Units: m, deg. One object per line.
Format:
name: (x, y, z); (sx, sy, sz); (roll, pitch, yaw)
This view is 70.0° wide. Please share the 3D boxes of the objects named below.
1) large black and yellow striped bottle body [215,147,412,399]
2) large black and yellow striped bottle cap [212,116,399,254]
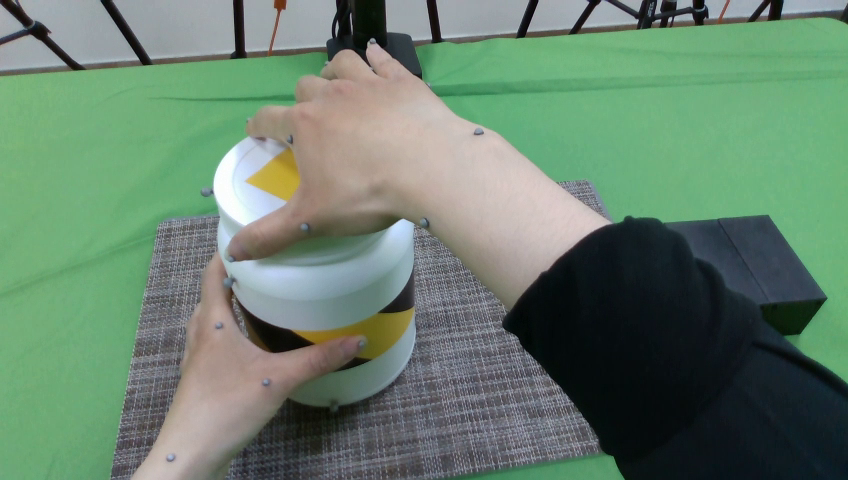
large black and yellow striped bottle body: (-0.075, 0.018, 0.445); (0.131, 0.185, 0.129); (0, 46, 0)
large black and yellow striped bottle cap: (-0.073, -0.039, 0.383); (0.115, 0.019, 0.114); (0, 46, 0)
